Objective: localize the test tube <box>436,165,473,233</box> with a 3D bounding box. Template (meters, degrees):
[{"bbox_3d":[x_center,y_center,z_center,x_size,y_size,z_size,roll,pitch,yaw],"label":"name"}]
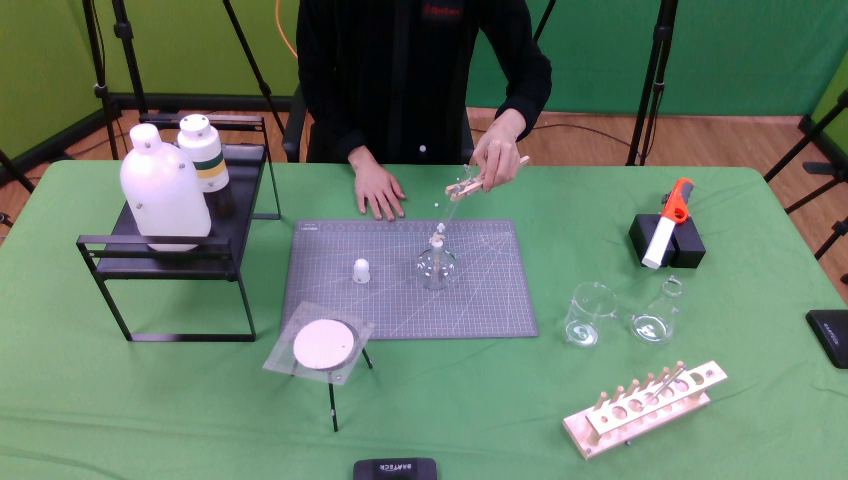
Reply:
[{"bbox_3d":[0.048,-0.064,0.994,0.017,0.151,0.017,12,46,-13],"label":"test tube"}]

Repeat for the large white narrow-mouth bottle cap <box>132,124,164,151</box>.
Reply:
[{"bbox_3d":[-0.370,-0.138,0.812,0.038,0.024,0.037,3,46,-3],"label":"large white narrow-mouth bottle cap"}]

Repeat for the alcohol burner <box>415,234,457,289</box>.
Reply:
[{"bbox_3d":[0.022,0.033,1.100,0.078,0.120,0.077,1,47,-1],"label":"alcohol burner"}]

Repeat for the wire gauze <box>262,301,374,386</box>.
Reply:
[{"bbox_3d":[-0.150,0.148,0.873,0.121,0.011,0.124,14,46,12],"label":"wire gauze"}]

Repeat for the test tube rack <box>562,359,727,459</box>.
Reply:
[{"bbox_3d":[0.341,0.247,0.940,0.243,0.085,0.066,-16,49,-18],"label":"test tube rack"}]

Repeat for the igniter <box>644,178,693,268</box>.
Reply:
[{"bbox_3d":[0.488,-0.042,1.204,0.057,0.025,0.276,30,51,10],"label":"igniter"}]

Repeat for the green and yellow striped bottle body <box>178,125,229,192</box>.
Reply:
[{"bbox_3d":[-0.361,-0.142,0.989,0.063,0.120,0.063,2,46,-2],"label":"green and yellow striped bottle body"}]

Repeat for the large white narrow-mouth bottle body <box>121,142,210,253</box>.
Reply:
[{"bbox_3d":[-0.378,-0.077,0.875,0.102,0.195,0.101,3,46,-3],"label":"large white narrow-mouth bottle body"}]

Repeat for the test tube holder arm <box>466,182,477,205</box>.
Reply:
[{"bbox_3d":[0.077,-0.084,1.032,0.015,0.013,0.178,-24,16,7],"label":"test tube holder arm"}]

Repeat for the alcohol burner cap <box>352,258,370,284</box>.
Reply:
[{"bbox_3d":[-0.117,0.055,1.118,0.034,0.048,0.033,1,46,-1],"label":"alcohol burner cap"}]

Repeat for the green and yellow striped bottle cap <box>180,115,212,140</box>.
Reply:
[{"bbox_3d":[-0.358,-0.177,0.951,0.045,0.020,0.045,2,44,-1],"label":"green and yellow striped bottle cap"}]

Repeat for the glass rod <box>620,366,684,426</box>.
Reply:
[{"bbox_3d":[0.322,0.227,0.866,0.008,0.200,0.008,6,51,-7],"label":"glass rod"}]

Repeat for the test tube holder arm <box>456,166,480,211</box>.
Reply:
[{"bbox_3d":[0.073,-0.083,0.992,0.015,0.088,0.010,-19,41,8],"label":"test tube holder arm"}]

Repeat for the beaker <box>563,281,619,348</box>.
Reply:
[{"bbox_3d":[0.283,0.129,1.041,0.074,0.101,0.083,11,46,7],"label":"beaker"}]

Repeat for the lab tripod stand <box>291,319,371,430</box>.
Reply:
[{"bbox_3d":[-0.146,0.193,0.923,0.148,0.132,0.147,1,47,-1],"label":"lab tripod stand"}]

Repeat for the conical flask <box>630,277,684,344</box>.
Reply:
[{"bbox_3d":[0.409,0.117,1.045,0.075,0.122,0.075,2,46,-2],"label":"conical flask"}]
